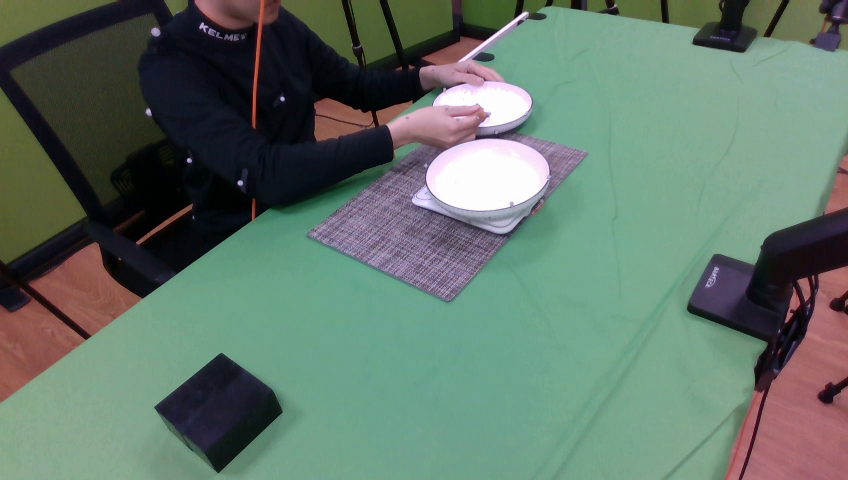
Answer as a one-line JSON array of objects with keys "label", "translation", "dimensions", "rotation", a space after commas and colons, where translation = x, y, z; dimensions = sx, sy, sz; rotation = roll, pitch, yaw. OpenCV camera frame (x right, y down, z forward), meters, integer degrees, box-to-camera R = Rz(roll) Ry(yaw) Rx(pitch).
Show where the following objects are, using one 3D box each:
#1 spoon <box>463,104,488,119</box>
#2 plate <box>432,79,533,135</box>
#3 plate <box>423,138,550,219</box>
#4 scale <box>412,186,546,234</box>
[{"label": "spoon", "translation": [0.102, -0.249, 1.165], "dimensions": [0.041, 0.021, 0.193], "rotation": [-5, 14, -1]}, {"label": "plate", "translation": [0.120, -0.271, 1.250], "dimensions": [0.209, 0.038, 0.208], "rotation": [-4, 39, 3]}, {"label": "plate", "translation": [0.104, -0.099, 1.005], "dimensions": [0.207, 0.039, 0.206], "rotation": [-4, 41, 4]}, {"label": "scale", "translation": [0.093, -0.083, 1.038], "dimensions": [0.199, 0.032, 0.149], "rotation": [22, 48, 30]}]
